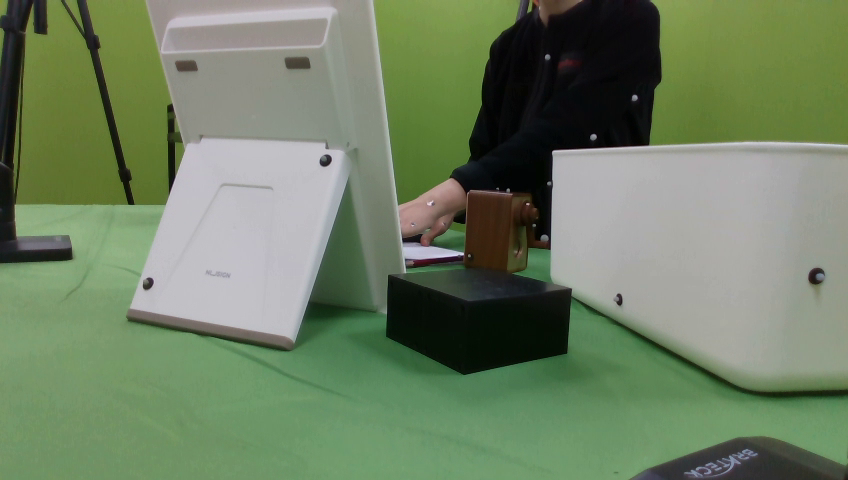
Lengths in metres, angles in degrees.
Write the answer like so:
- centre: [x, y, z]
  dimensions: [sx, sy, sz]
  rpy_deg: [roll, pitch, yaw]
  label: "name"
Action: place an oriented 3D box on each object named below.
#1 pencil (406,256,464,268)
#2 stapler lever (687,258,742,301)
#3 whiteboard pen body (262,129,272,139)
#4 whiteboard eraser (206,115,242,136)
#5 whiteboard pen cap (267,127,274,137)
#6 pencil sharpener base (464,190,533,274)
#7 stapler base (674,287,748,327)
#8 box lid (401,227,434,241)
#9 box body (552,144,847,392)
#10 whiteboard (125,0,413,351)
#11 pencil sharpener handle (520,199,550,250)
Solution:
- centre: [0.041, 0.028, 0.850]
  dimensions: [0.195, 0.012, 0.012]
  rpy_deg: [-5, 11, -45]
  label: "pencil"
- centre: [0.283, 0.035, 0.585]
  dimensions: [0.026, 0.040, 0.119]
  rpy_deg: [10, 8, 38]
  label: "stapler lever"
- centre: [-0.361, -0.245, 1.393]
  dimensions: [0.017, 0.017, 0.140]
  rpy_deg: [0, 5, -20]
  label: "whiteboard pen body"
- centre: [-0.438, -0.249, 1.320]
  dimensions: [0.056, 0.042, 0.112]
  rpy_deg: [-3, 9, -30]
  label: "whiteboard eraser"
- centre: [-0.340, -0.239, 1.337]
  dimensions: [0.018, 0.018, 0.033]
  rpy_deg: [1, -1, -15]
  label: "whiteboard pen cap"
- centre: [0.103, -0.012, 0.812]
  dimensions: [0.076, 0.107, 0.061]
  rpy_deg: [8, 9, 36]
  label: "pencil sharpener base"
- centre: [0.281, 0.061, 0.586]
  dimensions: [0.041, 0.024, 0.131]
  rpy_deg: [10, 8, 38]
  label: "stapler base"
- centre: [-0.196, -0.015, 1.105]
  dimensions: [0.373, 0.015, 0.262]
  rpy_deg: [-1, 7, -32]
  label: "box lid"
- centre: [0.290, 0.002, 0.549]
  dimensions: [0.255, 0.160, 0.363]
  rpy_deg: [2, 7, -10]
  label: "box body"
- centre: [-0.151, -0.050, 0.471]
  dimensions: [0.216, 0.305, 0.144]
  rpy_deg: [6, 27, 24]
  label: "whiteboard"
- centre: [0.147, -0.019, 0.785]
  dimensions: [0.030, 0.068, 0.036]
  rpy_deg: [8, 26, 36]
  label: "pencil sharpener handle"
